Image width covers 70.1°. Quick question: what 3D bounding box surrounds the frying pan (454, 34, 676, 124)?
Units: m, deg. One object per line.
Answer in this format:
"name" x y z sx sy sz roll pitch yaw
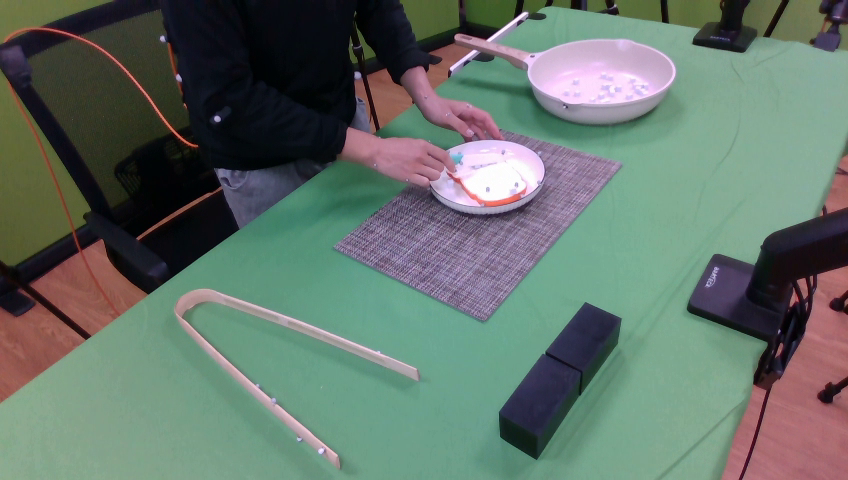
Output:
"frying pan" 0.277 -0.370 1.295 0.485 0.103 0.307 26 49 22

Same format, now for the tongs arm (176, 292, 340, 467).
"tongs arm" -0.225 0.168 0.793 0.381 0.026 0.051 25 49 33

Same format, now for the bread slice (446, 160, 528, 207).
"bread slice" 0.117 -0.104 1.057 0.107 0.018 0.133 -24 42 -18

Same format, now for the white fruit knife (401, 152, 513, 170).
"white fruit knife" 0.060 -0.142 1.055 0.208 0.027 0.016 -6 33 -18

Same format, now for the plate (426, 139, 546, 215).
"plate" 0.109 -0.107 1.059 0.207 0.039 0.206 -4 41 4

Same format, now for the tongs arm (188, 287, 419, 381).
"tongs arm" -0.177 0.126 0.842 0.385 0.028 0.028 15 48 24
